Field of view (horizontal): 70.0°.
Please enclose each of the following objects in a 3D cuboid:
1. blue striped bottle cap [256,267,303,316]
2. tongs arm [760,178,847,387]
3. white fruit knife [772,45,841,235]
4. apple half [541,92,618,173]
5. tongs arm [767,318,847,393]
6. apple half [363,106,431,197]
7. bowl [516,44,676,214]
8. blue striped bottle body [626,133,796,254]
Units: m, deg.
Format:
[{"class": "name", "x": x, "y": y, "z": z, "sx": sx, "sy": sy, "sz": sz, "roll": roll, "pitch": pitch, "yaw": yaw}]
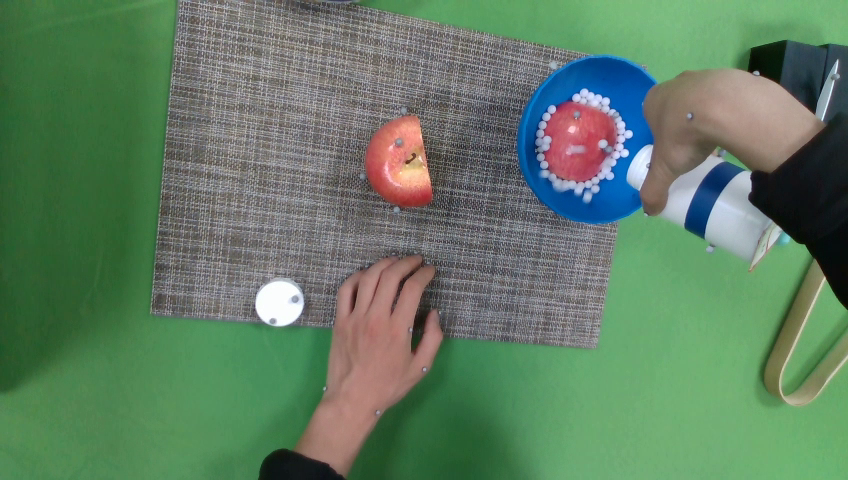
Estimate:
[{"class": "blue striped bottle cap", "x": -0.136, "y": 0.049, "z": 0.569, "sx": 0.045, "sy": 0.020, "sz": 0.044, "roll": -2, "pitch": 99, "yaw": -14}, {"class": "tongs arm", "x": 0.479, "y": -0.012, "z": 0.699, "sx": 0.028, "sy": 0.027, "sz": 0.387, "roll": 23, "pitch": 94, "yaw": -17}, {"class": "white fruit knife", "x": 0.400, "y": -0.096, "z": 0.635, "sx": 0.016, "sy": 0.027, "sz": 0.209, "roll": 4, "pitch": 115, "yaw": 4}, {"class": "apple half", "x": 0.152, "y": -0.101, "z": 0.573, "sx": 0.081, "sy": 0.032, "sz": 0.081, "roll": -1, "pitch": 97, "yaw": -13}, {"class": "tongs arm", "x": 0.547, "y": 0.031, "z": 0.717, "sx": 0.051, "sy": 0.026, "sz": 0.384, "roll": 37, "pitch": 91, "yaw": -15}, {"class": "apple half", "x": -0.028, "y": -0.077, "z": 0.544, "sx": 0.053, "sy": 0.074, "sz": 0.081, "roll": -12, "pitch": 105, "yaw": -7}, {"class": "bowl", "x": 0.150, "y": -0.103, "z": 0.577, "sx": 0.152, "sy": 0.076, "sz": 0.151, "roll": -2, "pitch": 99, "yaw": -12}, {"class": "blue striped bottle body", "x": 0.225, "y": -0.044, "z": 0.492, "sx": 0.063, "sy": 0.119, "sz": 0.063, "roll": -32, "pitch": 141, "yaw": -30}]
